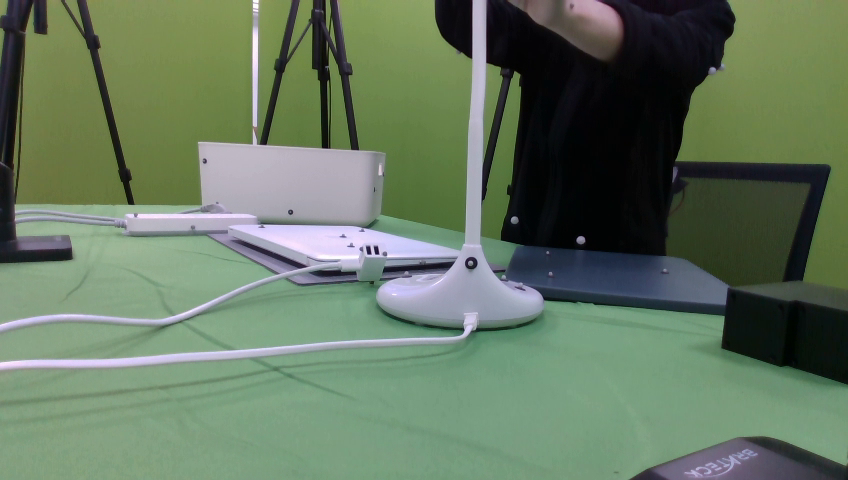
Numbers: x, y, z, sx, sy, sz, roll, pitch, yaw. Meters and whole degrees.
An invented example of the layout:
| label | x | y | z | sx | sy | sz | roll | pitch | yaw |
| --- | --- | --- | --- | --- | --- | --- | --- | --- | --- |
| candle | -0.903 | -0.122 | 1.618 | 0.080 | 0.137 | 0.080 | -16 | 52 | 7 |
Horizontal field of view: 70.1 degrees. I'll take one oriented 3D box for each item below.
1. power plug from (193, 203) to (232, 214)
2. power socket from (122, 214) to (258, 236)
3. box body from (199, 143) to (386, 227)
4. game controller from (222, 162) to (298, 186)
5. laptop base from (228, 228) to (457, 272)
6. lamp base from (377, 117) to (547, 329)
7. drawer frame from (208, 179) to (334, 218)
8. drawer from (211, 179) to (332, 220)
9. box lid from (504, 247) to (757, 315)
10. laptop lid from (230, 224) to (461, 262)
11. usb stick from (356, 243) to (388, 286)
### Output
| label | x | y | z | sx | sy | sz | roll | pitch | yaw |
| --- | --- | --- | --- | --- | --- | --- | --- | --- | --- |
| power plug | -0.394 | -0.042 | 1.139 | 0.072 | 0.052 | 0.035 | -14 | 2 | 31 |
| power socket | -0.399 | -0.028 | 1.049 | 0.228 | 0.032 | 0.072 | -3 | 8 | -34 |
| box body | -0.276 | -0.124 | 1.335 | 0.364 | 0.160 | 0.254 | 3 | 7 | 1 |
| game controller | -0.357 | -0.143 | 1.321 | 0.156 | 0.051 | 0.097 | 1 | 2 | -16 |
| laptop base | -0.122 | 0.011 | 0.889 | 0.237 | 0.023 | 0.352 | 2 | 6 | -35 |
| lamp base | 0.041 | -0.019 | 0.552 | 0.161 | 0.180 | 0.179 | 1 | 10 | -10 |
| drawer frame | -0.327 | -0.093 | 1.328 | 0.213 | 0.082 | 0.202 | 0 | 5 | 6 |
| drawer | -0.328 | -0.095 | 1.332 | 0.212 | 0.073 | 0.194 | 5 | 8 | 6 |
| box lid | 0.244 | 0.044 | 0.793 | 0.263 | 0.015 | 0.372 | 4 | 7 | 11 |
| laptop lid | -0.120 | 0.000 | 0.889 | 0.243 | 0.013 | 0.355 | 1 | 7 | -33 |
| usb stick | -0.058 | 0.029 | 0.658 | 0.027 | 0.059 | 0.021 | -5 | 52 | -18 |
